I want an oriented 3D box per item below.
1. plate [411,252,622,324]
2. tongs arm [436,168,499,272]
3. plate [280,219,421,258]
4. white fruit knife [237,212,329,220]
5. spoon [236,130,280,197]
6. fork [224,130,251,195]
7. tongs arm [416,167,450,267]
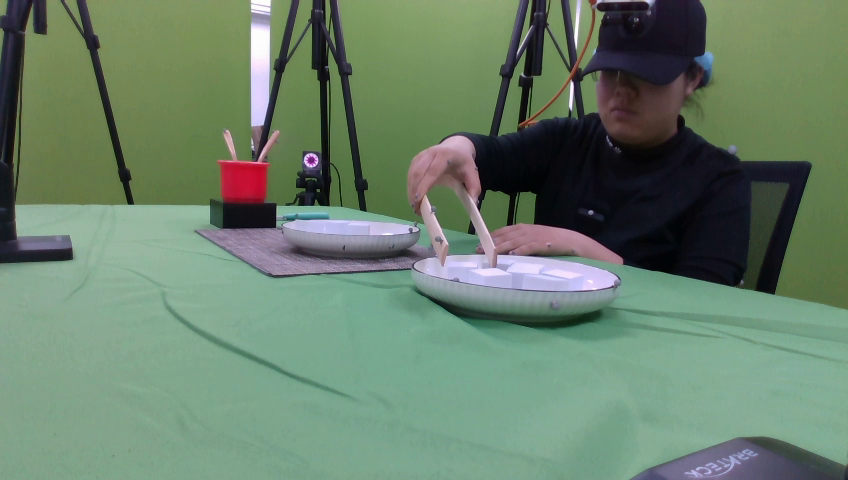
[{"bbox_3d":[0.090,0.046,0.609,0.209,0.038,0.209,2,8,0],"label":"plate"},{"bbox_3d":[0.051,-0.040,0.782,0.028,0.028,0.386,1,18,-6],"label":"tongs arm"},{"bbox_3d":[-0.108,-0.002,0.902,0.208,0.039,0.207,3,7,0],"label":"plate"},{"bbox_3d":[-0.304,-0.050,1.328,0.208,0.016,0.027,-3,-19,-29],"label":"white fruit knife"},{"bbox_3d":[-0.321,-0.154,1.192,0.041,0.193,0.022,1,-37,19],"label":"spoon"},{"bbox_3d":[-0.372,-0.155,1.193,0.028,0.018,0.206,-17,54,-13],"label":"fork"},{"bbox_3d":[0.020,-0.043,0.778,0.051,0.026,0.384,4,18,-9],"label":"tongs arm"}]
